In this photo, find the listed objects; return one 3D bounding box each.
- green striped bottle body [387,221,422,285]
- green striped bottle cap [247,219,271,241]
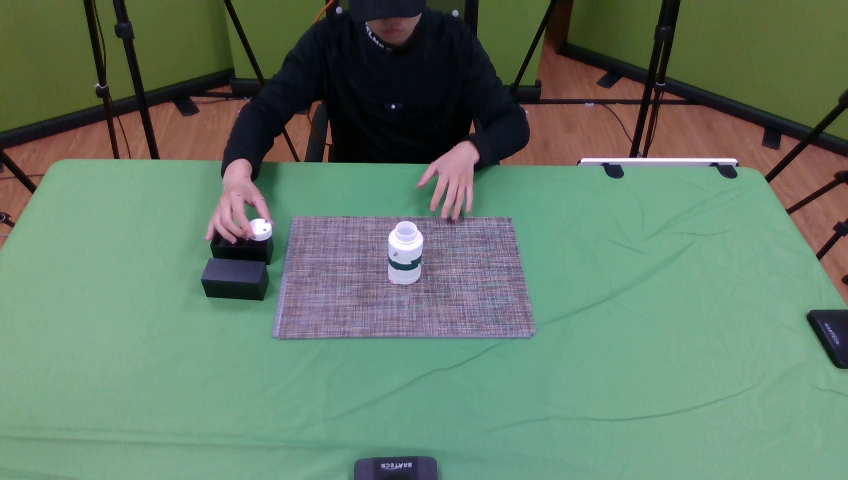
[{"bbox_3d":[-0.035,0.021,1.103,0.063,0.120,0.063,2,46,-2],"label":"green striped bottle body"},{"bbox_3d":[-0.304,-0.019,1.116,0.044,0.020,0.044,5,42,-5],"label":"green striped bottle cap"}]
